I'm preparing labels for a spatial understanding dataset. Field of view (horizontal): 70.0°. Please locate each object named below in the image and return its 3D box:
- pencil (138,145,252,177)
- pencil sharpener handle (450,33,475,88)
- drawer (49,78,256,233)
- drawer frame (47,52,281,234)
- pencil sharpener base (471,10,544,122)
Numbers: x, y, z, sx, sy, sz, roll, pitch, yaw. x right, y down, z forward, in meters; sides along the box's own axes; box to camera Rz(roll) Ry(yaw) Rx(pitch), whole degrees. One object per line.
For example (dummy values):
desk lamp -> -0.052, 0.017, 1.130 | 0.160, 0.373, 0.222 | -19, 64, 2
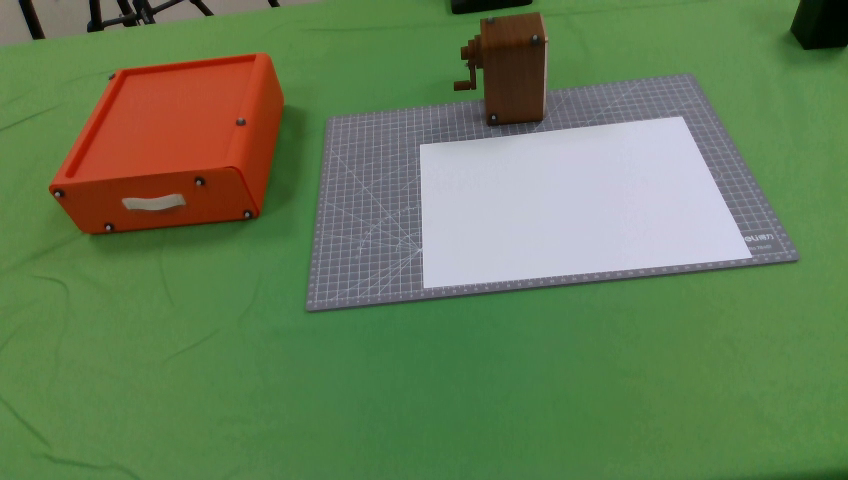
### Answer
pencil -> -0.276, -0.096, 0.717 | 0.193, 0.012, 0.012 | 15, 53, 27
pencil sharpener handle -> 0.042, -0.199, 0.683 | 0.030, 0.068, 0.035 | -5, 54, 5
drawer -> -0.280, -0.112, 0.693 | 0.194, 0.074, 0.209 | -6, 47, 4
drawer frame -> -0.281, -0.114, 0.693 | 0.201, 0.083, 0.211 | -6, 48, 4
pencil sharpener base -> 0.094, -0.194, 0.687 | 0.076, 0.108, 0.061 | -5, 49, 5
